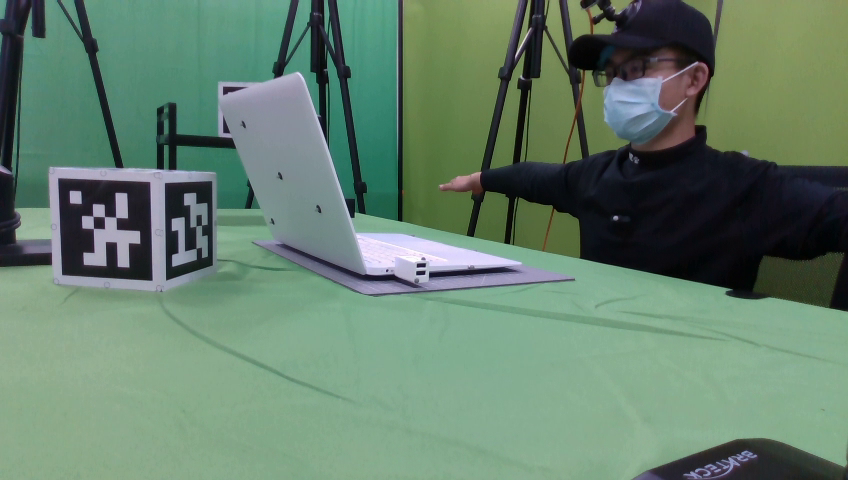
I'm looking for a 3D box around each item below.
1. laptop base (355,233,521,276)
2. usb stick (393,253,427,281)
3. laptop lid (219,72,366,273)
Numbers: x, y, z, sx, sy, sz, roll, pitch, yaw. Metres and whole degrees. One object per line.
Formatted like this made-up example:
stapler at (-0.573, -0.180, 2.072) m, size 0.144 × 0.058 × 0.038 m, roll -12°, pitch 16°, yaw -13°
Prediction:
laptop base at (-0.056, 0.017, 0.898) m, size 0.237 × 0.023 × 0.352 m, roll 2°, pitch 6°, yaw -32°
usb stick at (-0.020, 0.030, 0.694) m, size 0.021 × 0.027 × 0.059 m, roll -4°, pitch 5°, yaw -31°
laptop lid at (-0.189, -0.087, 0.801) m, size 0.013 × 0.242 × 0.355 m, roll -26°, pitch 21°, yaw -26°
